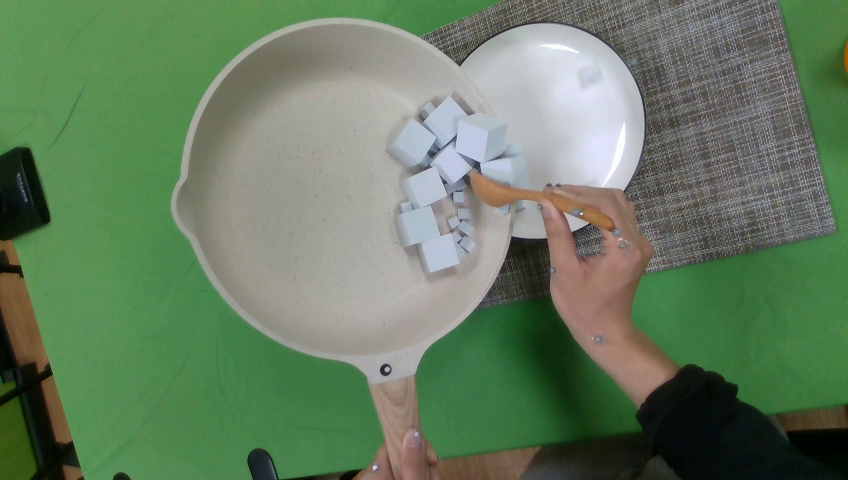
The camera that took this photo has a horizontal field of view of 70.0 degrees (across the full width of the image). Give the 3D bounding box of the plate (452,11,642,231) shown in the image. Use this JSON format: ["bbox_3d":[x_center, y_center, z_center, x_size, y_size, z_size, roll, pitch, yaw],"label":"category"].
[{"bbox_3d":[0.107,-0.114,0.599,0.207,0.039,0.208,3,99,22],"label":"plate"}]

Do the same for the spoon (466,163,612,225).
[{"bbox_3d":[0.086,-0.040,0.498,0.021,0.192,0.042,-41,117,-15],"label":"spoon"}]

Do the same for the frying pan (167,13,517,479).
[{"bbox_3d":[-0.044,0.056,0.530,0.102,0.308,0.486,155,105,-67],"label":"frying pan"}]
